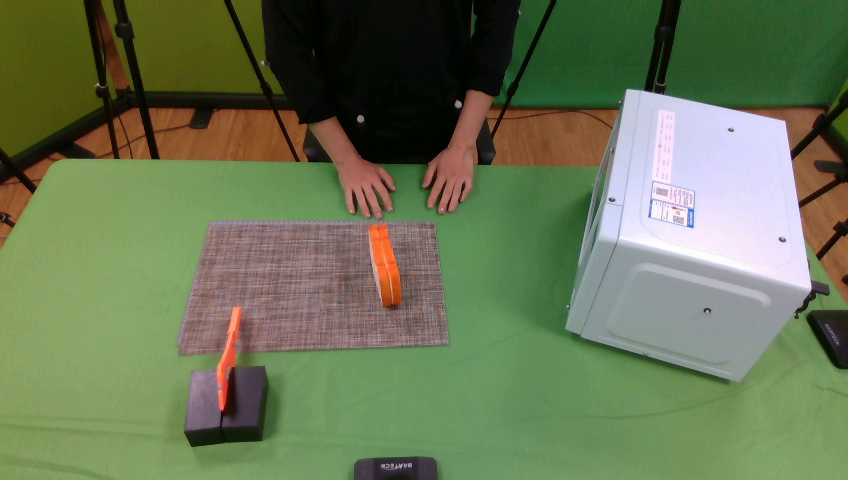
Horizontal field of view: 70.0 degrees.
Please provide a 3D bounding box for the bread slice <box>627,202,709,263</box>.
[{"bbox_3d":[0.474,-0.021,1.168,0.134,0.018,0.106,-30,55,-16],"label":"bread slice"}]

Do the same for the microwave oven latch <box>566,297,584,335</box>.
[{"bbox_3d":[0.268,0.126,1.059,0.030,0.029,0.079,16,46,12],"label":"microwave oven latch"}]

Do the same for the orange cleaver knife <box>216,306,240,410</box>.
[{"bbox_3d":[-0.307,0.180,0.957,0.012,0.077,0.210,-2,25,-8],"label":"orange cleaver knife"}]

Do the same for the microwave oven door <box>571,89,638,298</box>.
[{"bbox_3d":[0.343,-0.091,1.133,0.039,0.245,0.354,15,47,10],"label":"microwave oven door"}]

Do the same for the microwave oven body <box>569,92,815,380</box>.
[{"bbox_3d":[0.468,-0.022,1.082,0.325,0.261,0.440,15,46,11],"label":"microwave oven body"}]

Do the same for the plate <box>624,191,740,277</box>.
[{"bbox_3d":[0.482,-0.007,1.146,0.208,0.039,0.206,0,49,0],"label":"plate"}]
